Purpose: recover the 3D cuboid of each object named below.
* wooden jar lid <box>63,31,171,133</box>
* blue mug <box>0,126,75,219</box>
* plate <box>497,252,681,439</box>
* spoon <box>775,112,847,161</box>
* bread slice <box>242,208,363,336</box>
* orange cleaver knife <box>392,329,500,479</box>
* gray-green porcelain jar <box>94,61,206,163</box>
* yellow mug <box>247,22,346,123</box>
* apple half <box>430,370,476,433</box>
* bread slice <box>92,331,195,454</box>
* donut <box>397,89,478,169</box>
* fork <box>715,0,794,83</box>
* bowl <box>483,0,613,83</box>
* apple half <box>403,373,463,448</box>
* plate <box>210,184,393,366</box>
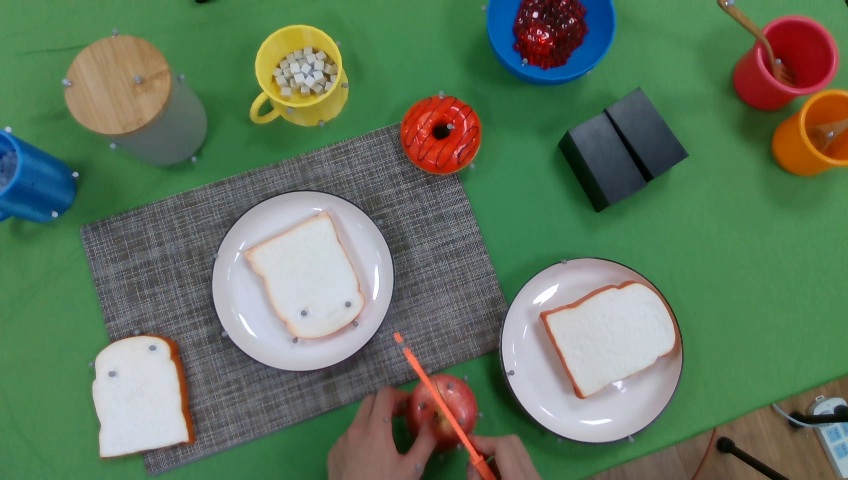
[{"bbox_3d":[-0.312,-0.160,0.622,0.108,0.021,0.108,0,80,0],"label":"wooden jar lid"},{"bbox_3d":[-0.473,-0.062,0.678,0.082,0.106,0.116,44,83,6],"label":"blue mug"},{"bbox_3d":[0.186,0.119,0.699,0.209,0.038,0.208,0,82,-1],"label":"plate"},{"bbox_3d":[0.500,-0.149,0.689,0.022,0.193,0.041,-16,77,-49],"label":"spoon"},{"bbox_3d":[-0.131,0.042,0.701,0.107,0.018,0.134,-30,83,-5],"label":"bread slice"},{"bbox_3d":[0.030,0.177,0.594,0.012,0.077,0.212,-34,98,-7],"label":"orange cleaver knife"},{"bbox_3d":[-0.313,-0.149,0.684,0.106,0.127,0.105,0,81,-1],"label":"gray-green porcelain jar"},{"bbox_3d":[-0.158,-0.188,0.723,0.131,0.064,0.100,-43,85,-6],"label":"yellow mug"},{"bbox_3d":[0.038,0.172,0.670,0.033,0.081,0.081,-29,83,0],"label":"apple half"},{"bbox_3d":[-0.324,0.170,0.688,0.105,0.019,0.131,-12,83,-3],"label":"bread slice"},{"bbox_3d":[0.017,-0.132,0.725,0.099,0.048,0.098,0,83,-1],"label":"donut"},{"bbox_3d":[0.385,-0.231,0.699,0.209,0.018,0.028,20,78,-40],"label":"fork"},{"bbox_3d":[0.142,-0.252,0.732,0.151,0.077,0.151,0,82,-1],"label":"bowl"},{"bbox_3d":[0.005,0.192,0.668,0.053,0.075,0.080,-29,85,0],"label":"apple half"},{"bbox_3d":[-0.139,0.040,0.701,0.208,0.039,0.207,0,82,-1],"label":"plate"}]
